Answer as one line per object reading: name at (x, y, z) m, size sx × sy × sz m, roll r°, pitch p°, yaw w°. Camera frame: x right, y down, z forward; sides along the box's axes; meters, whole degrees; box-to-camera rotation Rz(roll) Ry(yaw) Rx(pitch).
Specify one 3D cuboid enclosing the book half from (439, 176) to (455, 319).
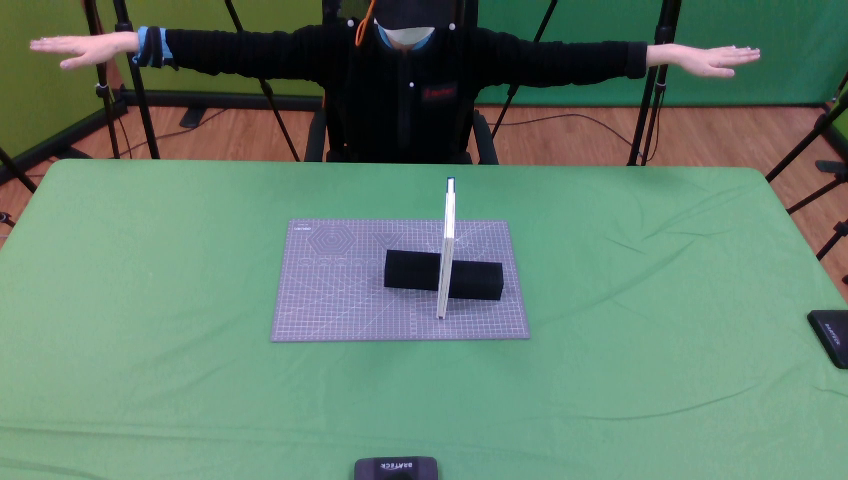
book half at (0.038, 0.017, 1.047) m, size 0.016 × 0.211 × 0.147 m, roll 3°, pitch 46°, yaw 0°

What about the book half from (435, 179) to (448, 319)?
book half at (0.031, 0.019, 1.045) m, size 0.007 × 0.211 × 0.142 m, roll 4°, pitch 46°, yaw 1°
